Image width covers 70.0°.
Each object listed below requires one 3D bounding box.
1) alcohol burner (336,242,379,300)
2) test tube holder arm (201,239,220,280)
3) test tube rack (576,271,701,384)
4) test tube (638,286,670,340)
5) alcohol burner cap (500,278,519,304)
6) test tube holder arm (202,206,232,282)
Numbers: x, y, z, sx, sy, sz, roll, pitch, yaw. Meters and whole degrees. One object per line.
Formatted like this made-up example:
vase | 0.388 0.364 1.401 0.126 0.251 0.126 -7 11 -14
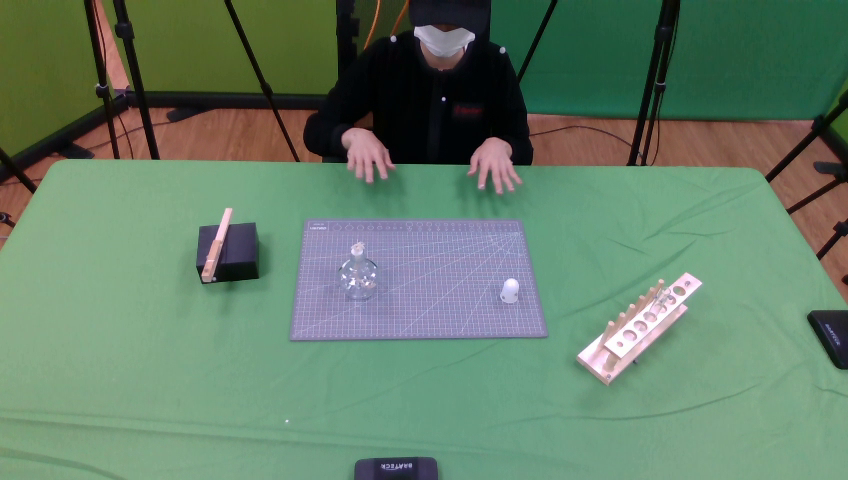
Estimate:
alcohol burner | -0.118 0.050 1.072 0.078 0.120 0.077 2 44 -1
test tube holder arm | -0.374 0.033 1.064 0.015 0.010 0.087 1 47 -1
test tube rack | 0.373 0.138 1.047 0.242 0.085 0.066 -31 55 -29
test tube | 0.373 0.123 0.994 0.017 0.151 0.017 0 51 0
alcohol burner cap | 0.157 0.090 1.104 0.034 0.048 0.033 2 46 -2
test tube holder arm | -0.373 0.004 1.098 0.015 0.013 0.177 1 47 -1
